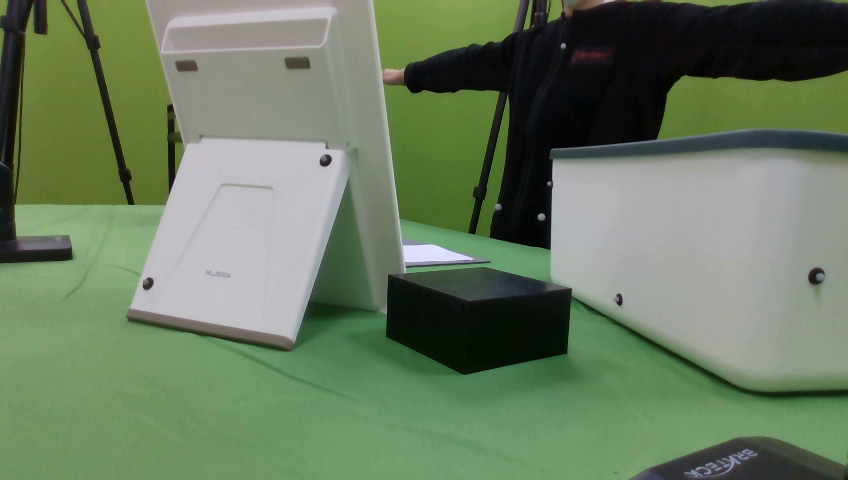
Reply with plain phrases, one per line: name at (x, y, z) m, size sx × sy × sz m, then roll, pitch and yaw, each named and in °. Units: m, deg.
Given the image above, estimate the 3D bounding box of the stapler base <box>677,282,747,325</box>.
stapler base at (0.283, 0.056, 0.584) m, size 0.041 × 0.024 × 0.131 m, roll 33°, pitch 19°, yaw 33°

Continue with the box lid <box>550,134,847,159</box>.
box lid at (0.294, -0.071, 0.538) m, size 0.264 × 0.015 × 0.370 m, roll 2°, pitch 6°, yaw -10°

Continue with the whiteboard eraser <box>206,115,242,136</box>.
whiteboard eraser at (-0.438, -0.249, 1.320) m, size 0.056 × 0.042 × 0.112 m, roll -3°, pitch 9°, yaw -30°

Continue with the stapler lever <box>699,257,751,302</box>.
stapler lever at (0.291, 0.035, 0.580) m, size 0.026 × 0.040 × 0.119 m, roll 33°, pitch 21°, yaw 33°

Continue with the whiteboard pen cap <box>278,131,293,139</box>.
whiteboard pen cap at (-0.312, -0.236, 1.357) m, size 0.033 × 0.018 × 0.018 m, roll 6°, pitch 8°, yaw 22°

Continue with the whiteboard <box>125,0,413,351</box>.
whiteboard at (-0.151, -0.050, 0.471) m, size 0.216 × 0.305 × 0.144 m, roll 6°, pitch 27°, yaw 24°

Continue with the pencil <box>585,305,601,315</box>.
pencil at (0.250, 0.055, 0.656) m, size 0.195 × 0.012 × 0.012 m, roll -11°, pitch 13°, yaw -28°

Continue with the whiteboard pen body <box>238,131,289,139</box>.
whiteboard pen body at (-0.366, -0.240, 1.381) m, size 0.140 × 0.017 × 0.017 m, roll 6°, pitch 8°, yaw 24°

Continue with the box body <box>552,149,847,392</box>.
box body at (0.290, 0.002, 0.549) m, size 0.255 × 0.160 × 0.363 m, roll 2°, pitch 7°, yaw -10°
